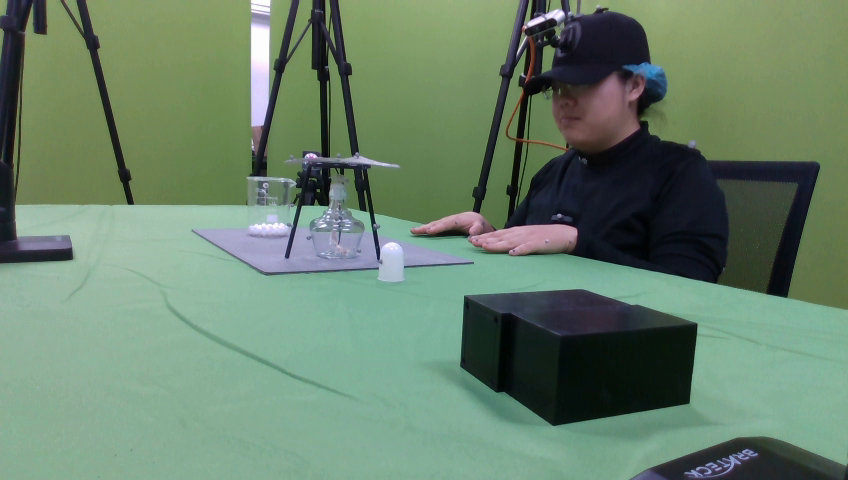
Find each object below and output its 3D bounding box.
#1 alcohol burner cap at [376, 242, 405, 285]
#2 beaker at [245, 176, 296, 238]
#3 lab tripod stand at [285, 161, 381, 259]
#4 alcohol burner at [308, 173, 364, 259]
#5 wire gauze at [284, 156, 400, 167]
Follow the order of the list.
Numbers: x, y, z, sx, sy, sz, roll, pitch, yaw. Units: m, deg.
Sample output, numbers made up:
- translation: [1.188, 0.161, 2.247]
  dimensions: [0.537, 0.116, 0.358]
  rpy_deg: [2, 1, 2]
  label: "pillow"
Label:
- translation: [-0.039, 0.026, 0.710]
  dimensions: [0.034, 0.048, 0.034]
  rpy_deg: [3, 6, 0]
  label: "alcohol burner cap"
- translation: [-0.263, -0.057, 1.034]
  dimensions: [0.084, 0.100, 0.074]
  rpy_deg: [1, 8, -17]
  label: "beaker"
- translation: [-0.123, -0.043, 0.842]
  dimensions: [0.148, 0.131, 0.148]
  rpy_deg: [3, 9, 0]
  label: "lab tripod stand"
- translation: [-0.121, -0.033, 0.843]
  dimensions: [0.078, 0.119, 0.078]
  rpy_deg: [3, 5, 0]
  label: "alcohol burner"
- translation: [-0.115, -0.109, 0.835]
  dimensions: [0.126, 0.011, 0.121]
  rpy_deg: [-3, 10, -30]
  label: "wire gauze"
